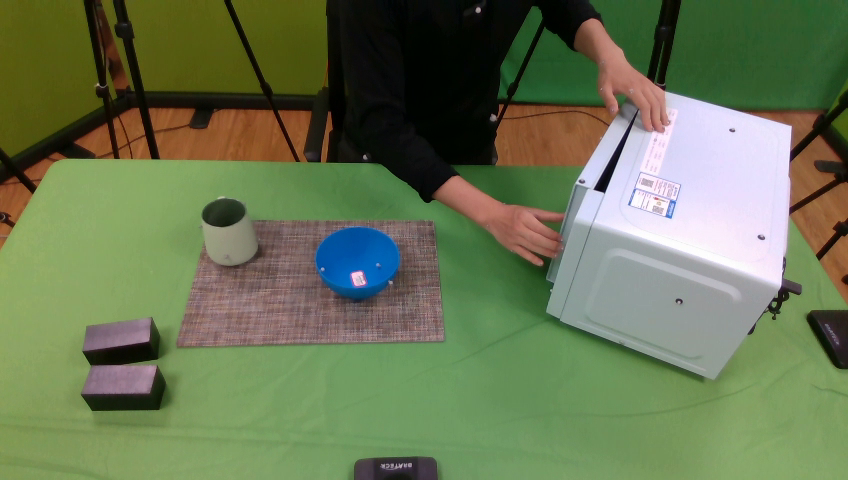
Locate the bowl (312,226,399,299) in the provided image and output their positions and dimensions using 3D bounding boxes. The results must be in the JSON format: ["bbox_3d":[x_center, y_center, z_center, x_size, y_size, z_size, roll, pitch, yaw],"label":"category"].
[{"bbox_3d":[-0.120,0.054,1.091,0.151,0.077,0.150,2,46,-2],"label":"bowl"}]

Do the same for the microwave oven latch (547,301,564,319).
[{"bbox_3d":[0.243,0.102,1.082,0.030,0.029,0.079,21,47,17],"label":"microwave oven latch"}]

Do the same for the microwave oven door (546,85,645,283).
[{"bbox_3d":[0.332,-0.111,1.152,0.039,0.245,0.355,23,49,18],"label":"microwave oven door"}]

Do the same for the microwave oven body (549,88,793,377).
[{"bbox_3d":[0.456,-0.028,1.088,0.325,0.261,0.440,20,47,16],"label":"microwave oven body"}]

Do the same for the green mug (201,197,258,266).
[{"bbox_3d":[-0.366,-0.025,1.130,0.092,0.105,0.124,-13,48,-16],"label":"green mug"}]
